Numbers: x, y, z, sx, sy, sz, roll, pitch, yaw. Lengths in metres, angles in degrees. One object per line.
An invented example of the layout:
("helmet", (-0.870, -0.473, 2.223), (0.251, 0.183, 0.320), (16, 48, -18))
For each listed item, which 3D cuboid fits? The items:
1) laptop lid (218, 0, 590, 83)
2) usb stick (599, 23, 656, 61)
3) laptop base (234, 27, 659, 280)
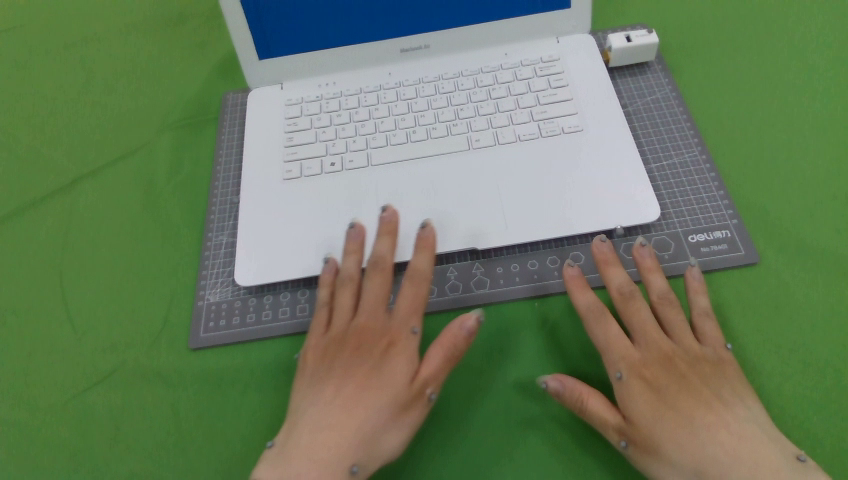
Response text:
("laptop lid", (-0.024, -0.275, 0.546), (0.357, 0.244, 0.013), (-10, 39, 3))
("usb stick", (0.190, -0.189, 0.583), (0.059, 0.027, 0.021), (-9, 57, 5))
("laptop base", (0.006, -0.087, 0.556), (0.354, 0.023, 0.233), (-9, 59, 2))
